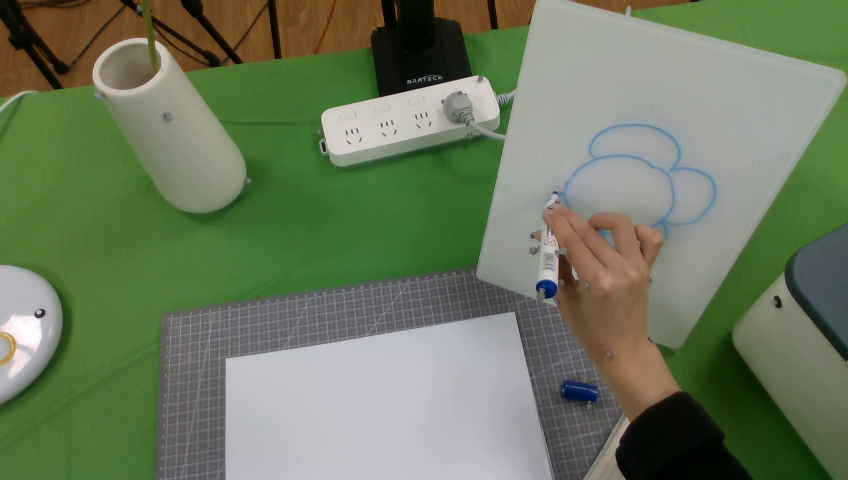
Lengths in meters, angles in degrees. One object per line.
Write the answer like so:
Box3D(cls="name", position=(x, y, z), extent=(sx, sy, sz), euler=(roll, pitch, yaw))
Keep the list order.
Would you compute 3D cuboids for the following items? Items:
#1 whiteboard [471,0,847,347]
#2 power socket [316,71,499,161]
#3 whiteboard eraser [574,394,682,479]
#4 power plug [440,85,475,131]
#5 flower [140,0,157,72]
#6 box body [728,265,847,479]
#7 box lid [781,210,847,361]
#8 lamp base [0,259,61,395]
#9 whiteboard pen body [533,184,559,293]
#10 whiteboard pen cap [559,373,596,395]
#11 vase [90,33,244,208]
Box3D(cls="whiteboard", position=(0.191, -0.078, 0.566), extent=(0.216, 0.308, 0.143), euler=(20, 45, 12))
Box3D(cls="power socket", position=(-0.018, -0.149, 0.725), extent=(0.227, 0.033, 0.071), euler=(-13, 65, -5))
Box3D(cls="whiteboard eraser", position=(0.178, 0.198, 0.540), extent=(0.055, 0.042, 0.112), euler=(34, 70, 18))
Box3D(cls="power plug", position=(0.037, -0.145, 0.697), extent=(0.035, 0.053, 0.072), euler=(-4, 70, 0))
Box3D(cls="flower", position=(-0.241, -0.148, 0.549), extent=(0.038, 0.362, 0.044), euler=(39, 61, 1))
Box3D(cls="box body", position=(0.473, 0.137, 0.495), extent=(0.254, 0.161, 0.361), euler=(-25, 66, -10))
Box3D(cls="box lid", position=(0.469, 0.102, 0.429), extent=(0.263, 0.015, 0.368), euler=(-26, 66, -9))
Box3D(cls="lamp base", position=(-0.473, 0.053, 0.560), extent=(0.178, 0.182, 0.160), euler=(21, 66, 15))
Box3D(cls="whiteboard pen body", position=(0.099, -0.008, 0.483), extent=(0.017, 0.017, 0.140), euler=(9, 38, 7))
Box3D(cls="whiteboard pen cap", position=(0.148, 0.139, 0.584), extent=(0.033, 0.018, 0.018), euler=(9, 64, 4))
Box3D(cls="vase", position=(-0.259, -0.116, 0.625), extent=(0.098, 0.201, 0.097), euler=(-1, 63, 3))
